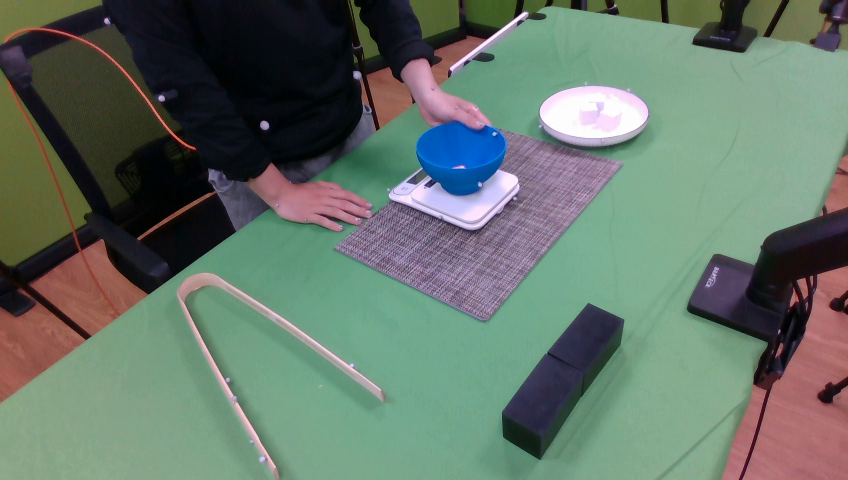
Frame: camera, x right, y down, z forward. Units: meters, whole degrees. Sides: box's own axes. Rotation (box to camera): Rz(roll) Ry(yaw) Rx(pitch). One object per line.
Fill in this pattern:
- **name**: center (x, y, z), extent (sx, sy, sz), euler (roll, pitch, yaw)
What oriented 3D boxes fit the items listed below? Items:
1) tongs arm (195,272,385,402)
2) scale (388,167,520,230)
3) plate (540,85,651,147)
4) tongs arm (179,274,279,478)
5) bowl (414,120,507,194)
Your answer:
- **tongs arm**: center (-0.199, 0.125, 0.847), extent (0.384, 0.028, 0.028), euler (25, 52, 32)
- **scale**: center (0.050, -0.090, 1.051), extent (0.199, 0.032, 0.149), euler (24, 49, 31)
- **plate**: center (0.333, -0.238, 1.185), extent (0.207, 0.039, 0.206), euler (-4, 41, 4)
- **tongs arm**: center (-0.260, 0.161, 0.807), extent (0.051, 0.026, 0.381), euler (-29, 44, -25)
- **bowl**: center (0.062, -0.129, 1.006), extent (0.151, 0.077, 0.150), euler (-2, 40, 2)
